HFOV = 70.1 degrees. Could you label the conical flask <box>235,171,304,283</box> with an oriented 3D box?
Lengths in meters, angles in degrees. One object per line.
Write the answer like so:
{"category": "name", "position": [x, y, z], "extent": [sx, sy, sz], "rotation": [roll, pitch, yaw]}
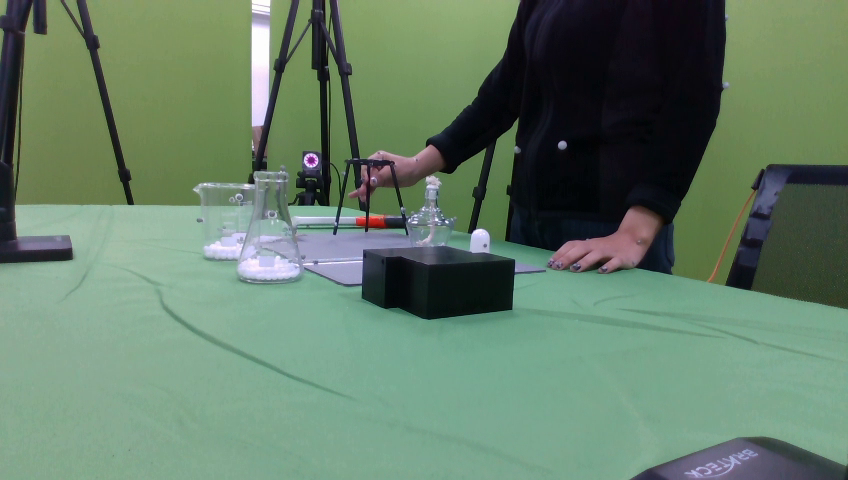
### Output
{"category": "conical flask", "position": [-0.172, -0.016, 0.677], "extent": [0.075, 0.122, 0.075], "rotation": [2, 7, 0]}

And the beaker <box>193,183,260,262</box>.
{"category": "beaker", "position": [-0.262, -0.025, 0.806], "extent": [0.084, 0.100, 0.073], "rotation": [-3, 9, -30]}

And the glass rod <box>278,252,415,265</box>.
{"category": "glass rod", "position": [-0.097, 0.024, 0.805], "extent": [0.201, 0.008, 0.008], "rotation": [-3, 8, -33]}

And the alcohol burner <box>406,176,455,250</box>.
{"category": "alcohol burner", "position": [0.012, -0.044, 0.963], "extent": [0.078, 0.119, 0.078], "rotation": [4, 6, 0]}

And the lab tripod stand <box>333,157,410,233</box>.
{"category": "lab tripod stand", "position": [-0.091, -0.077, 1.064], "extent": [0.148, 0.131, 0.148], "rotation": [2, 3, 0]}

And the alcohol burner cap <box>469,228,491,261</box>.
{"category": "alcohol burner cap", "position": [0.082, 0.006, 0.878], "extent": [0.034, 0.048, 0.034], "rotation": [3, 6, 0]}

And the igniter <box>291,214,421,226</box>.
{"category": "igniter", "position": [-0.135, -0.041, 1.250], "extent": [0.278, 0.025, 0.057], "rotation": [-1, -3, -28]}

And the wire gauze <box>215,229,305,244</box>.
{"category": "wire gauze", "position": [-0.273, -0.009, 1.012], "extent": [0.122, 0.011, 0.124], "rotation": [-2, 9, -33]}
